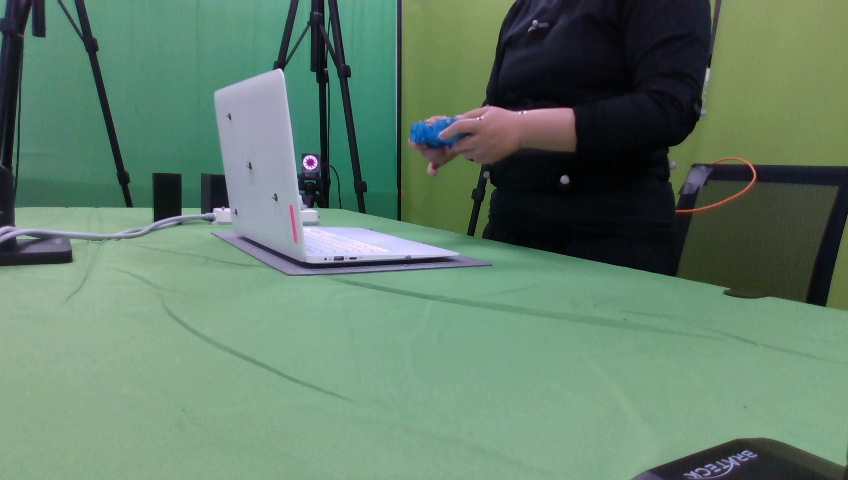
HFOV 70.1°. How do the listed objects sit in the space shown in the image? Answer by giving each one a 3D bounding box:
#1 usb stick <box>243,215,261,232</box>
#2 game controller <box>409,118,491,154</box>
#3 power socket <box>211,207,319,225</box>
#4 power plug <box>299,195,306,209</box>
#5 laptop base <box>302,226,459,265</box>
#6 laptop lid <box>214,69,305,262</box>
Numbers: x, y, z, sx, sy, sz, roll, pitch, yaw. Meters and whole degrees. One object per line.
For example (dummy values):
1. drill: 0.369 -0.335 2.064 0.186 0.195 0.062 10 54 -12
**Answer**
1. usb stick: -0.302 -0.029 1.071 0.021 0.027 0.059 0 12 -30
2. game controller: 0.041 -0.185 1.052 0.097 0.051 0.154 8 0 -30
3. power socket: -0.334 -0.051 1.281 0.228 0.032 0.072 -1 9 -29
4. power plug: -0.283 -0.075 1.342 0.035 0.052 0.072 0 4 -18
5. laptop base: -0.136 0.006 0.951 0.237 0.023 0.352 2 6 -32
6. laptop lid: -0.246 -0.107 0.865 0.013 0.241 0.355 -11 14 -30
